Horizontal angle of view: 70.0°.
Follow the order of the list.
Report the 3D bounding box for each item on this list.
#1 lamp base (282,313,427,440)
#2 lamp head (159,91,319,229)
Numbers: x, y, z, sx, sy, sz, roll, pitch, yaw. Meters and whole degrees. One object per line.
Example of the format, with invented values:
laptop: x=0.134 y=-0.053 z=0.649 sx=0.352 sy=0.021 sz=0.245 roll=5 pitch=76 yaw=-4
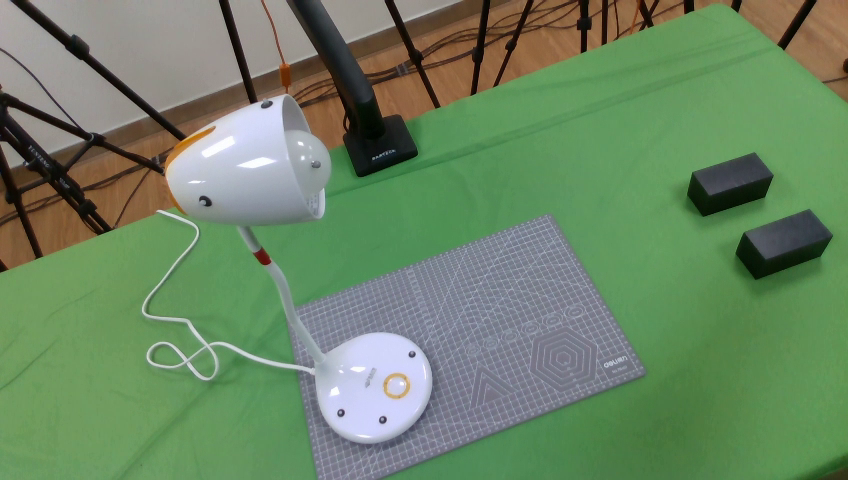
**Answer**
lamp base: x=-0.100 y=0.152 z=0.778 sx=0.178 sy=0.182 sz=0.159 roll=0 pitch=55 yaw=16
lamp head: x=-0.162 y=-0.059 z=0.534 sx=0.123 sy=0.113 sz=0.111 roll=-16 pitch=53 yaw=7
